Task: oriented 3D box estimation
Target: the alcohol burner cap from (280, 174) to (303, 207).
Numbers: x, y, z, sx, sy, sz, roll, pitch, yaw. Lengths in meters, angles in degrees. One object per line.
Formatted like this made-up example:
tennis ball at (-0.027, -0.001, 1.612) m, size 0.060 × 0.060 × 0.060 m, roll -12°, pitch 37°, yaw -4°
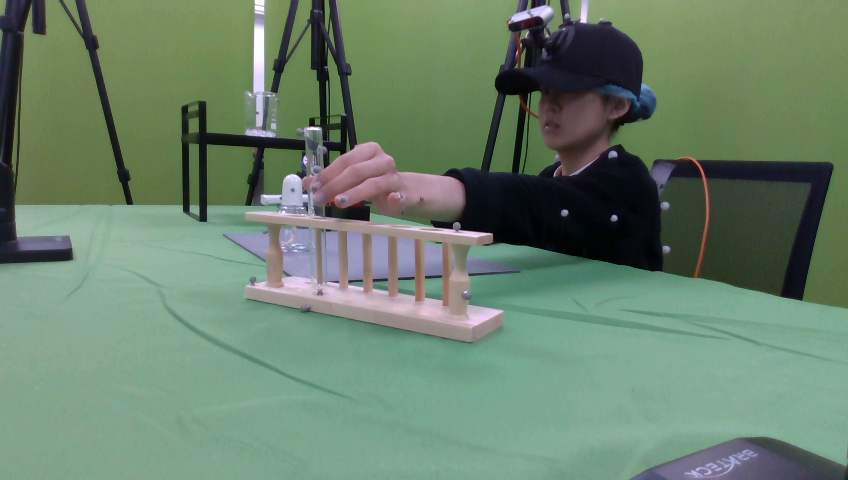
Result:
alcohol burner cap at (-0.194, -0.072, 0.884) m, size 0.034 × 0.048 × 0.034 m, roll 1°, pitch 5°, yaw 0°

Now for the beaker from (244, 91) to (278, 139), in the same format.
beaker at (-0.367, -0.280, 1.356) m, size 0.074 × 0.100 × 0.084 m, roll 4°, pitch 8°, yaw 6°

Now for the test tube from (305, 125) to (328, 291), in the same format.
test tube at (-0.097, -0.028, 0.547) m, size 0.017 × 0.150 × 0.017 m, roll 0°, pitch 8°, yaw 0°

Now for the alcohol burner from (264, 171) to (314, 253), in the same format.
alcohol burner at (-0.194, -0.042, 0.888) m, size 0.078 × 0.119 × 0.078 m, roll 3°, pitch 5°, yaw 0°

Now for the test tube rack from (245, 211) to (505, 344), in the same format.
test tube rack at (-0.049, 0.025, 0.547) m, size 0.241 × 0.085 × 0.067 m, roll 7°, pitch 8°, yaw 29°

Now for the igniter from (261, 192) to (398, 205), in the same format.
igniter at (-0.185, -0.083, 1.217) m, size 0.278 × 0.025 × 0.057 m, roll -2°, pitch 12°, yaw -25°
